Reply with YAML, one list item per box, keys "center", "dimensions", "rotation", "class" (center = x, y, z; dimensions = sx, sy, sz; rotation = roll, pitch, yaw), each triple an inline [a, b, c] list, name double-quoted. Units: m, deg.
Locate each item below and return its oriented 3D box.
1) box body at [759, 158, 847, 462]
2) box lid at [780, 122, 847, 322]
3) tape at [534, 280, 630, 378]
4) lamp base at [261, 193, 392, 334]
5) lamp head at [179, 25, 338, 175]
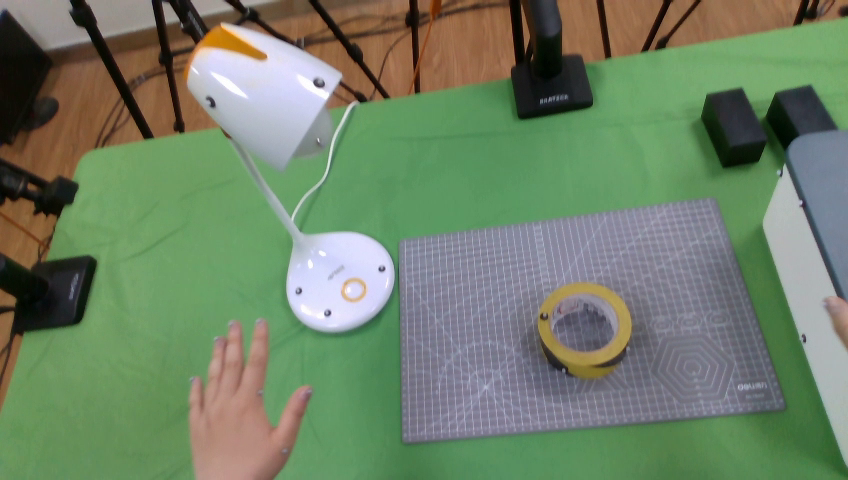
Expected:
- center: [0.547, 0.057, 0.645]
  dimensions: [0.254, 0.162, 0.360]
  rotation: [-7, 59, 8]
  class: "box body"
- center: [0.533, 0.018, 0.584]
  dimensions: [0.263, 0.015, 0.368]
  rotation: [-7, 59, 8]
  class: "box lid"
- center: [0.197, 0.110, 0.755]
  dimensions: [0.117, 0.053, 0.116]
  rotation: [-5, 59, 9]
  class: "tape"
- center: [-0.149, 0.017, 0.815]
  dimensions: [0.177, 0.182, 0.160]
  rotation: [28, 69, 28]
  class: "lamp base"
- center: [-0.156, -0.134, 0.556]
  dimensions: [0.123, 0.112, 0.112]
  rotation: [29, 66, -10]
  class: "lamp head"
